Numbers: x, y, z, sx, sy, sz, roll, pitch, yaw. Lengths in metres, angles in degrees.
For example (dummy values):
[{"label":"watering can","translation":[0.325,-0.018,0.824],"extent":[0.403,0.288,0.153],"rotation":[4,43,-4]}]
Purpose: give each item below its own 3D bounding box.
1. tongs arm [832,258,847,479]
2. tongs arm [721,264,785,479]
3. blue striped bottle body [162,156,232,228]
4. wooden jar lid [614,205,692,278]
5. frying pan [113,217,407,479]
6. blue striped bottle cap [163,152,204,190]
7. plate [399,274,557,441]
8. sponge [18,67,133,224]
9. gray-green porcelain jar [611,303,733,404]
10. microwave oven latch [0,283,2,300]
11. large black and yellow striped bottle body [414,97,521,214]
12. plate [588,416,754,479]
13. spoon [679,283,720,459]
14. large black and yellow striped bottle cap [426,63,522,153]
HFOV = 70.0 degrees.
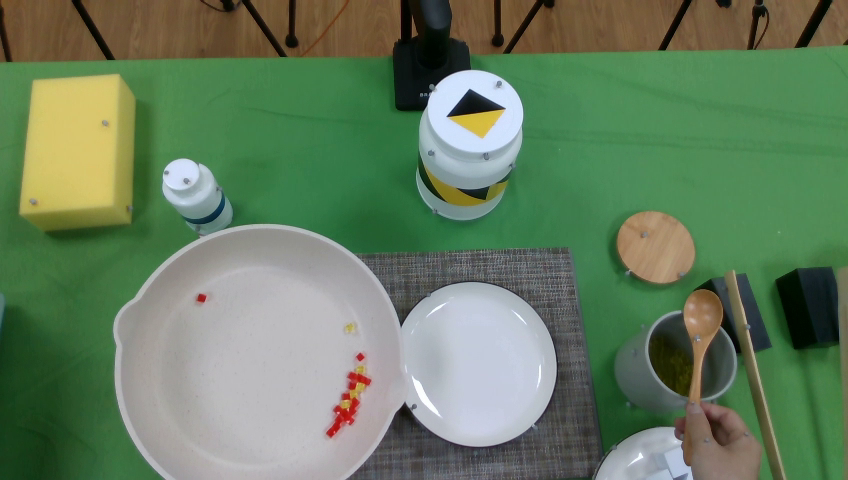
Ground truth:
[{"label":"tongs arm","translation":[0.515,0.212,0.748],"extent":[0.028,0.028,0.386],"rotation":[8,79,-8]},{"label":"tongs arm","translation":[0.430,0.215,0.740],"extent":[0.051,0.026,0.383],"rotation":[-7,81,-8]},{"label":"blue striped bottle body","translation":[-0.295,-0.066,0.785],"extent":[0.063,0.121,0.062],"rotation":[1,69,-2]},{"label":"wooden jar lid","translation":[0.319,0.003,0.851],"extent":[0.108,0.021,0.107],"rotation":[1,71,-2]},{"label":"frying pan","translation":[-0.186,0.214,0.608],"extent":[0.308,0.103,0.484],"rotation":[20,61,-17]},{"label":"blue striped bottle cap","translation":[-0.294,-0.084,0.738],"extent":[0.044,0.021,0.044],"rotation":[1,71,-3]},{"label":"plate","translation":[0.062,0.146,0.769],"extent":[0.209,0.038,0.207],"rotation":[1,70,-2]},{"label":"sponge","translation":[-0.472,-0.131,0.831],"extent":[0.118,0.061,0.205],"rotation":[-7,71,-6]},{"label":"gray-green porcelain jar","translation":[0.295,0.143,0.741],"extent":[0.106,0.127,0.105],"rotation":[1,69,-2]},{"label":"microwave oven latch","translation":[-0.540,0.087,0.740],"extent":[0.030,0.029,0.078],"rotation":[-2,71,-4]},{"label":"large black and yellow striped bottle body","translation":[0.054,-0.127,0.795],"extent":[0.131,0.185,0.130],"rotation":[1,69,-3]},{"label":"plate","translation":[0.294,0.319,0.724],"extent":[0.208,0.039,0.206],"rotation":[1,70,-3]},{"label":"spoon","translation":[0.294,0.139,0.662],"extent":[0.041,0.022,0.192],"rotation":[7,67,23]},{"label":"large black and yellow striped bottle cap","translation":[0.059,-0.157,0.717],"extent":[0.115,0.019,0.114],"rotation":[1,71,-3]}]
